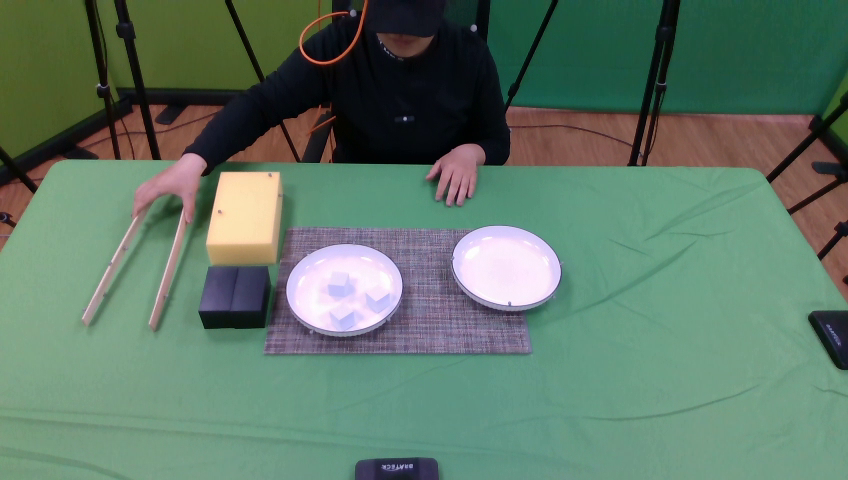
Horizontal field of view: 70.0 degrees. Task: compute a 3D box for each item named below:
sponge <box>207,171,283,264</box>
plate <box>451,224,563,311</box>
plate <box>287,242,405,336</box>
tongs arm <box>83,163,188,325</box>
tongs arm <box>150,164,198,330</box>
[{"bbox_3d":[-0.346,-0.048,1.191,0.118,0.061,0.205,-2,46,-6],"label":"sponge"},{"bbox_3d":[0.154,0.053,1.140,0.209,0.038,0.208,2,46,-2],"label":"plate"},{"bbox_3d":[-0.138,0.090,1.085,0.208,0.039,0.206,2,46,-2],"label":"plate"},{"bbox_3d":[-0.532,-0.007,1.139,0.051,0.026,0.382,5,50,1],"label":"tongs arm"},{"bbox_3d":[-0.469,-0.002,1.141,0.028,0.028,0.385,-3,51,-1],"label":"tongs arm"}]
